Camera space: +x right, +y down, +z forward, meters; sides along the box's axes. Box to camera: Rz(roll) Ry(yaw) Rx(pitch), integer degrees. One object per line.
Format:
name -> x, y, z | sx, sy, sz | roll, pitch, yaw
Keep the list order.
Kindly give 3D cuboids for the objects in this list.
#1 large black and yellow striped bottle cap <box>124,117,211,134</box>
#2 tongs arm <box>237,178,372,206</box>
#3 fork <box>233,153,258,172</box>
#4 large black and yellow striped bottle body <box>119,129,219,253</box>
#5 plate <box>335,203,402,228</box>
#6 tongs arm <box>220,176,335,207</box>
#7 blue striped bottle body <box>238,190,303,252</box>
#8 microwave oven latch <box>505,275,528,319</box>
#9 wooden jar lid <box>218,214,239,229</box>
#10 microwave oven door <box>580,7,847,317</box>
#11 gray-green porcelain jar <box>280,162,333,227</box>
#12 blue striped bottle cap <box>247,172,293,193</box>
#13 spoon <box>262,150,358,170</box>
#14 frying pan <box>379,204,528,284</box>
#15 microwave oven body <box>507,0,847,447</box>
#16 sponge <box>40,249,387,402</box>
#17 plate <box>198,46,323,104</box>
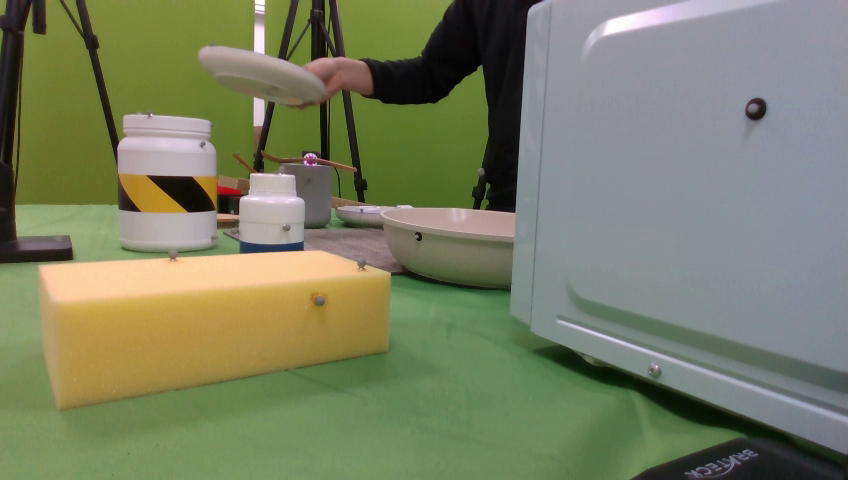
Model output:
large black and yellow striped bottle cap -> -0.366, -0.163, 0.866 | 0.115, 0.019, 0.115 | 3, 7, 0
tongs arm -> -0.242, -0.095, 1.374 | 0.387, 0.026, 0.050 | 8, 0, -37
fork -> -0.396, -0.143, 1.486 | 0.028, 0.018, 0.208 | 21, -25, 45
large black and yellow striped bottle body -> -0.367, -0.080, 0.876 | 0.131, 0.184, 0.130 | 2, 7, 0
plate -> -0.089, -0.053, 1.309 | 0.208, 0.039, 0.207 | 2, 8, 0
tongs arm -> -0.285, -0.105, 1.445 | 0.389, 0.027, 0.028 | 9, -4, -23
blue striped bottle body -> -0.153, -0.007, 0.606 | 0.063, 0.120, 0.063 | 2, 7, 0
microwave oven latch -> 0.100, 0.042, 0.471 | 0.079, 0.029, 0.030 | -1, 7, -29
wooden jar lid -> -0.404, -0.037, 1.169 | 0.108, 0.020, 0.108 | 3, 7, 0
microwave oven door -> 0.295, -0.067, 0.570 | 0.358, 0.243, 0.039 | -3, 9, -31
gray-green porcelain jar -> -0.238, -0.092, 1.221 | 0.106, 0.126, 0.106 | 2, 7, 0
blue striped bottle cap -> -0.152, -0.057, 0.598 | 0.044, 0.020, 0.044 | 3, 6, 0
spoon -> -0.229, -0.162, 1.222 | 0.194, 0.021, 0.041 | 4, 6, -16
frying pan -> 0.187, -0.014, 0.809 | 0.489, 0.102, 0.306 | -7, 12, -13
microwave oven body -> 0.331, -0.042, 0.425 | 0.444, 0.260, 0.324 | -2, 8, -31
sponge -> -0.142, 0.047, 0.420 | 0.208, 0.061, 0.117 | -3, 8, -36
plate -> -0.280, -0.273, 1.034 | 0.209, 0.038, 0.209 | 11, 0, 0
